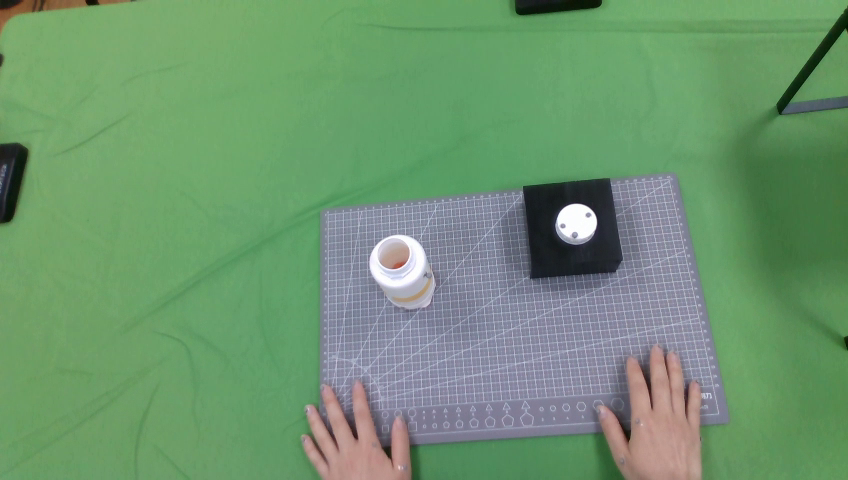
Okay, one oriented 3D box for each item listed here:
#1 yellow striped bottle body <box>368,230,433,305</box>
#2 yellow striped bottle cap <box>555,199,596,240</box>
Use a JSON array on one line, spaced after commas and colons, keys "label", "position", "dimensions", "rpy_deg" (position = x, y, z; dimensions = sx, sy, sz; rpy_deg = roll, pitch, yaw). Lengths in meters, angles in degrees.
[{"label": "yellow striped bottle body", "position": [-0.026, 0.030, 0.682], "dimensions": [0.063, 0.121, 0.062], "rpy_deg": [-2, 70, 6]}, {"label": "yellow striped bottle cap", "position": [0.170, -0.023, 0.680], "dimensions": [0.044, 0.019, 0.044], "rpy_deg": [-2, 73, 6]}]
